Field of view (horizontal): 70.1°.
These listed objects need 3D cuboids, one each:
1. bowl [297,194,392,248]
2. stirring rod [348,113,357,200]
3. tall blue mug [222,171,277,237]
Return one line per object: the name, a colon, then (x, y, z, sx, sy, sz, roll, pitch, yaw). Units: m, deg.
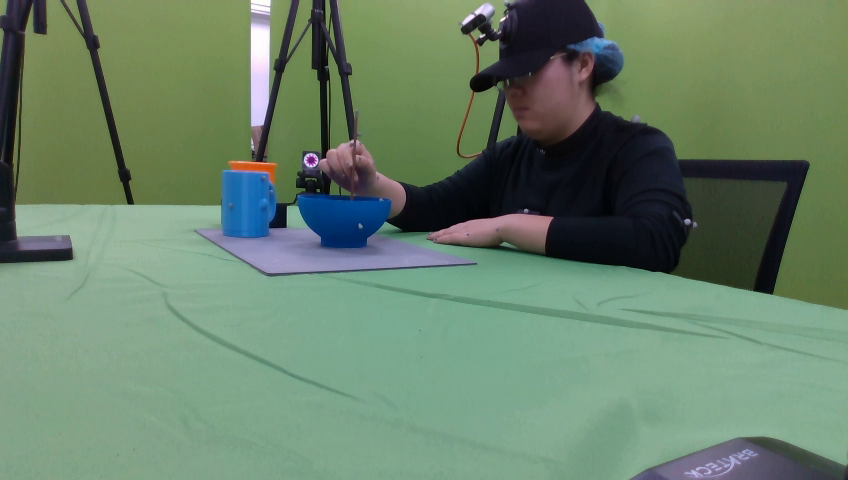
bowl: (-0.127, -0.030, 0.964, 0.151, 0.077, 0.151, 2, 7, 0)
stirring rod: (-0.113, -0.111, 0.949, 0.006, 0.176, 0.014, 4, 1, -11)
tall blue mug: (-0.302, -0.064, 1.043, 0.078, 0.108, 0.107, 1, 7, -4)
